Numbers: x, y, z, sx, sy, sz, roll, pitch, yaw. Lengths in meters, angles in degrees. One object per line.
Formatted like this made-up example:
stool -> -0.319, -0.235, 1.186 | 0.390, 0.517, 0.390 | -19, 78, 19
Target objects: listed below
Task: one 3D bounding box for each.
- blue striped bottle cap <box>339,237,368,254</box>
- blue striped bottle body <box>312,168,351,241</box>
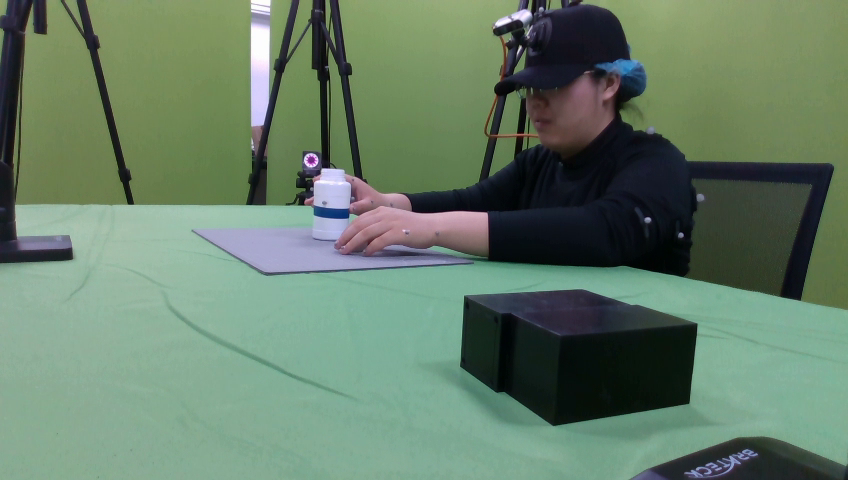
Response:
blue striped bottle cap -> -0.107, 0.008, 0.920 | 0.044, 0.020, 0.044 | 1, 7, 0
blue striped bottle body -> -0.157, -0.062, 1.025 | 0.063, 0.120, 0.063 | 4, 7, 0
